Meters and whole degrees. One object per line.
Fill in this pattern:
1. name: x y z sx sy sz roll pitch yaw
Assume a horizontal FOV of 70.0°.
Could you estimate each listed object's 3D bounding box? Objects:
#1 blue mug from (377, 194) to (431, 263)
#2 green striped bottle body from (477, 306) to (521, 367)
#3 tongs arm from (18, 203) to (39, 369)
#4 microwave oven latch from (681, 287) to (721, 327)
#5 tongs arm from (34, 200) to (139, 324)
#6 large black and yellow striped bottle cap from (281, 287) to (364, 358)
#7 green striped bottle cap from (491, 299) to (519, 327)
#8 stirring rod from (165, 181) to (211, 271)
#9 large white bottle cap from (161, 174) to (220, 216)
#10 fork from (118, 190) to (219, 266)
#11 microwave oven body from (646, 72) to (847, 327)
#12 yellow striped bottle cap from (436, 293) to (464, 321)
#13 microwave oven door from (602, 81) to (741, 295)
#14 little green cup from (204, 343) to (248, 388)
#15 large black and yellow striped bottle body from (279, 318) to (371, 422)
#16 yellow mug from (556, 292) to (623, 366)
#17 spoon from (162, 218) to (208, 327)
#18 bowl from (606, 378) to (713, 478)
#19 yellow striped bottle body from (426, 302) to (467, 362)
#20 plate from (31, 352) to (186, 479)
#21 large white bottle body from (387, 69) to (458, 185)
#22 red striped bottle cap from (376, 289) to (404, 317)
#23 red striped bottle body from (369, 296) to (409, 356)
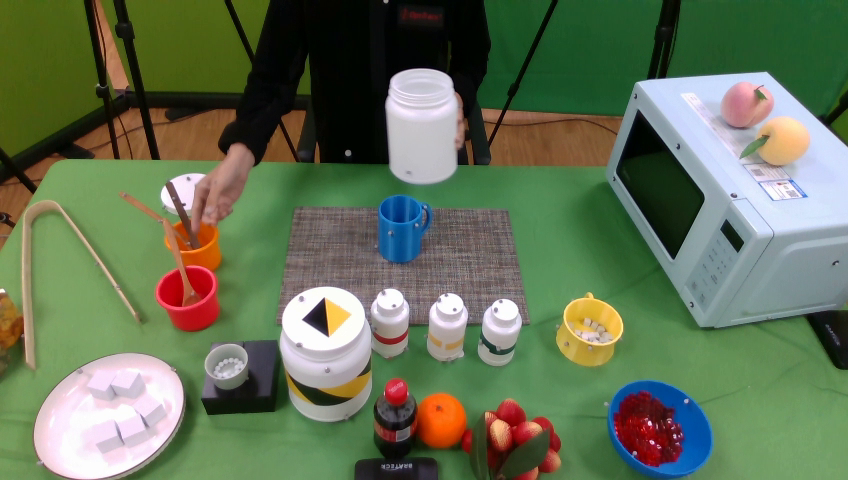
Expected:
1. blue mug: -0.035 -0.027 1.159 0.116 0.106 0.082 -24 53 -26
2. green striped bottle body: 0.124 0.151 0.995 0.063 0.120 0.063 2 46 -2
3. tongs arm: -0.698 0.068 1.069 0.028 0.028 0.385 -20 50 -13
4. microwave oven latch: 0.494 0.119 1.087 0.030 0.029 0.078 -6 46 -9
5. tongs arm: -0.622 0.034 1.105 0.051 0.026 0.382 -31 55 -26
6. large black and yellow striped bottle cap: -0.141 0.112 0.847 0.115 0.019 0.114 5 45 -4
7. green striped bottle cap: 0.128 0.115 0.958 0.044 0.020 0.044 1 46 -1
8. stirring rod: -0.431 -0.025 1.107 0.014 0.006 0.176 -25 95 -24
9. large white bottle cap: -0.483 -0.095 1.253 0.115 0.018 0.114 3 46 -3
10. fork: -0.459 -0.020 1.092 0.208 0.018 0.028 44 44 -24
11. microwave oven body: 0.607 -0.089 1.164 0.326 0.261 0.438 -7 46 -10
12. yellow striped bottle cap: 0.041 0.106 0.959 0.044 0.019 0.044 -1 49 1
13. microwave oven door: 0.456 -0.107 1.162 0.039 0.245 0.353 -7 47 -11
14. little green cup: -0.294 0.190 0.909 0.061 0.039 0.061 1 48 0
15. large black and yellow striped bottle body: -0.145 0.173 0.907 0.131 0.185 0.130 2 46 -2
16. yellow mug: 0.285 0.145 1.051 0.100 0.064 0.130 8 45 3
17. spoon: -0.410 0.054 1.029 0.042 0.021 0.194 -17 94 -18
18. bowl: 0.340 0.292 0.906 0.151 0.077 0.150 2 46 -2
19. yellow striped bottle body: 0.037 0.142 0.996 0.063 0.121 0.062 2 46 -2
20. plate: -0.459 0.262 0.898 0.209 0.038 0.208 2 46 -2
21. large white bottle body: -0.003 -0.211 1.128 0.130 0.185 0.130 0 41 0
22. red striped bottle cap: -0.054 0.098 0.958 0.044 0.018 0.044 -1 48 1
23. red striped bottle body: -0.058 0.134 0.997 0.063 0.120 0.062 4 47 -4
